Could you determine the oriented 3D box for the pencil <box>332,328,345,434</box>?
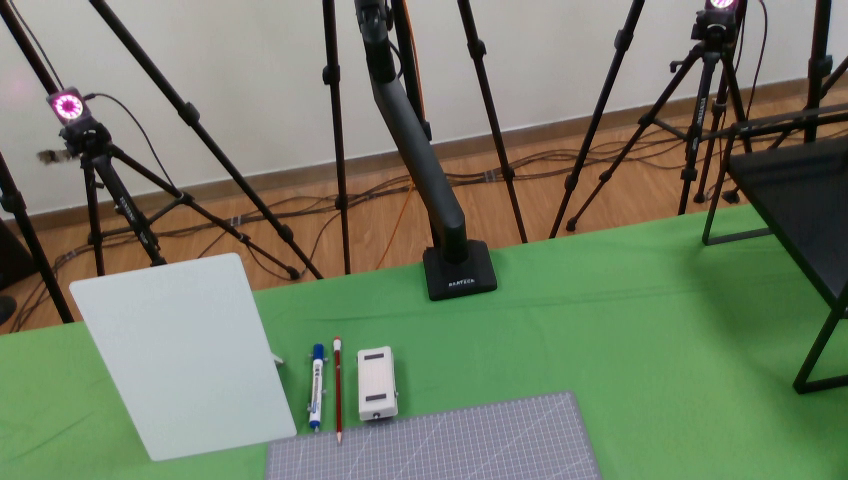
[{"bbox_3d":[-0.132,0.213,0.936,0.012,0.012,0.192,-12,45,-2],"label":"pencil"}]

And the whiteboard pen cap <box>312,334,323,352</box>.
[{"bbox_3d":[-0.172,0.170,0.980,0.018,0.018,0.033,-11,43,0],"label":"whiteboard pen cap"}]

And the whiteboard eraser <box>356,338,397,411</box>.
[{"bbox_3d":[-0.073,0.203,0.914,0.055,0.042,0.111,-11,45,1],"label":"whiteboard eraser"}]

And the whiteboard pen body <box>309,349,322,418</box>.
[{"bbox_3d":[-0.168,0.211,0.940,0.017,0.017,0.139,-9,44,1],"label":"whiteboard pen body"}]

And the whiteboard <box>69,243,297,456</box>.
[{"bbox_3d":[-0.319,0.132,0.883,0.217,0.308,0.142,-10,26,1],"label":"whiteboard"}]
